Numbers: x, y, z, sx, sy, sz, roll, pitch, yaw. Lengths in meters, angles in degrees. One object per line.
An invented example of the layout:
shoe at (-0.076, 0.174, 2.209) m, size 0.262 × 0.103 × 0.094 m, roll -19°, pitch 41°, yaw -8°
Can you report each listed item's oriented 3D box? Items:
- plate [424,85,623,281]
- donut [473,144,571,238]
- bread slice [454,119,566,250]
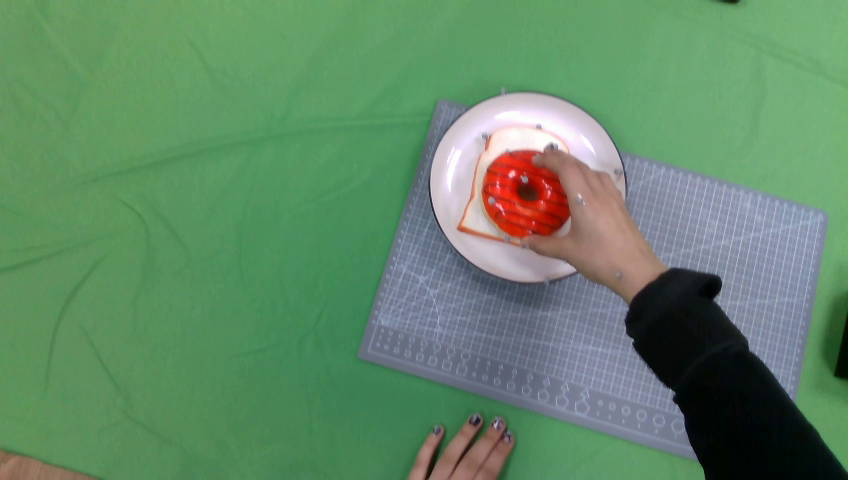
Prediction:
plate at (0.103, -0.059, 0.639) m, size 0.209 × 0.038 × 0.208 m, roll 1°, pitch 81°, yaw -3°
donut at (0.098, -0.049, 0.605) m, size 0.099 × 0.048 × 0.098 m, roll 1°, pitch 76°, yaw -5°
bread slice at (0.096, -0.064, 0.641) m, size 0.105 × 0.019 × 0.131 m, roll 14°, pitch 80°, yaw -1°
